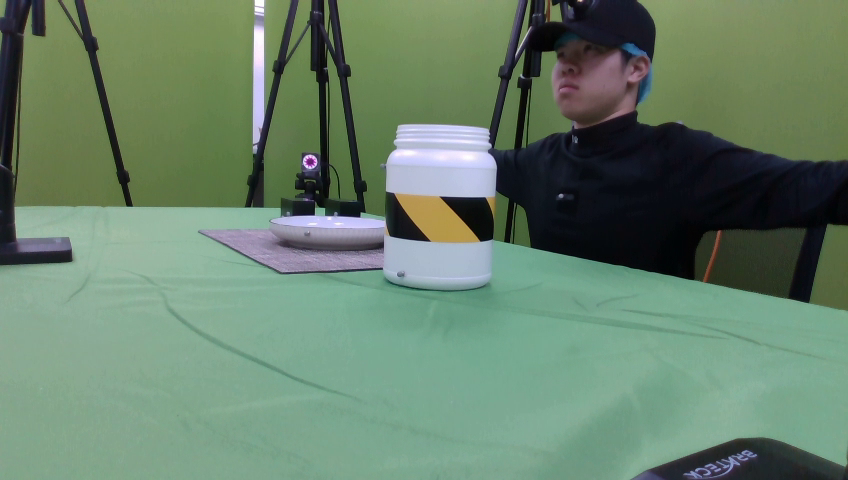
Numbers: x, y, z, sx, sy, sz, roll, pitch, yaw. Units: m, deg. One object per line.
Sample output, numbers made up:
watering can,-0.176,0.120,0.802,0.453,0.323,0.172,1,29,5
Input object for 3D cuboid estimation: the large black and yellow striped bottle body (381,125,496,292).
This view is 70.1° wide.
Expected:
large black and yellow striped bottle body,0.017,-0.040,0.715,0.131,0.184,0.130,3,7,0

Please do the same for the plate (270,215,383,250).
plate,-0.145,-0.013,0.992,0.208,0.039,0.207,2,7,0

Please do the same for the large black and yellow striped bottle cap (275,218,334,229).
large black and yellow striped bottle cap,-0.236,-0.033,1.197,0.115,0.019,0.115,2,3,0
